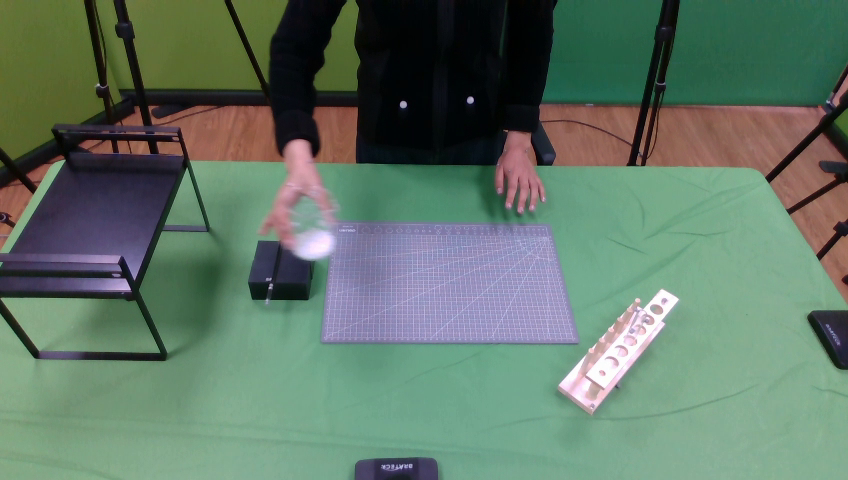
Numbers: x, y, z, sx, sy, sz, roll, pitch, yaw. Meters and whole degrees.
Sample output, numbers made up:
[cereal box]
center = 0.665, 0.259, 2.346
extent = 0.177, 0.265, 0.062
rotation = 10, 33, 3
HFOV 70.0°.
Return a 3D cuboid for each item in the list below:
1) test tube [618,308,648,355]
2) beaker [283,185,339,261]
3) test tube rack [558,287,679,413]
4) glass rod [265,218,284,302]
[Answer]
[test tube]
center = 0.326, 0.154, 0.956
extent = 0.017, 0.151, 0.017
rotation = -1, 50, 1
[beaker]
center = -0.170, -0.023, 0.933
extent = 0.084, 0.101, 0.073
rotation = 9, 44, 5
[test tube rack]
center = 0.326, 0.170, 1.009
extent = 0.066, 0.085, 0.242
rotation = 36, 54, 27
[glass rod]
center = -0.267, 0.031, 1.084
extent = 0.008, 0.008, 0.198
rotation = 1, 47, -3
